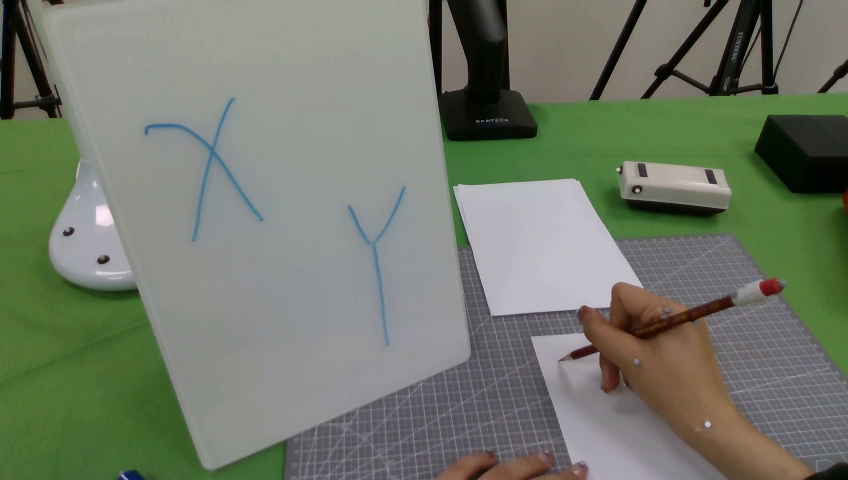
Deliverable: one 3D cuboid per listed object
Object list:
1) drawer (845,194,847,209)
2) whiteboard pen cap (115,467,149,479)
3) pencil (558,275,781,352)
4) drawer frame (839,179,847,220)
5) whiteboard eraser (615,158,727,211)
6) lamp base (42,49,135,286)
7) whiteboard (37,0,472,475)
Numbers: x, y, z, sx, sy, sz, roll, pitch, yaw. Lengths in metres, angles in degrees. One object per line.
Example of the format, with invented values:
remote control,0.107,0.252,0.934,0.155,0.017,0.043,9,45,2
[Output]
drawer,0.532,0.011,0.569,0.194,0.074,0.210,12,40,14
whiteboard pen cap,-0.187,0.164,0.399,0.033,0.018,0.018,23,44,27
pencil,0.157,0.058,0.426,0.012,0.194,0.012,12,64,-26
drawer frame,0.533,0.008,0.571,0.201,0.083,0.212,11,40,12
whiteboard eraser,0.273,-0.061,0.678,0.112,0.042,0.055,7,41,6
lamp base,-0.294,-0.075,0.559,0.178,0.182,0.160,23,44,27
whiteboard,-0.107,-0.028,0.457,0.218,0.307,0.142,-18,24,-22
